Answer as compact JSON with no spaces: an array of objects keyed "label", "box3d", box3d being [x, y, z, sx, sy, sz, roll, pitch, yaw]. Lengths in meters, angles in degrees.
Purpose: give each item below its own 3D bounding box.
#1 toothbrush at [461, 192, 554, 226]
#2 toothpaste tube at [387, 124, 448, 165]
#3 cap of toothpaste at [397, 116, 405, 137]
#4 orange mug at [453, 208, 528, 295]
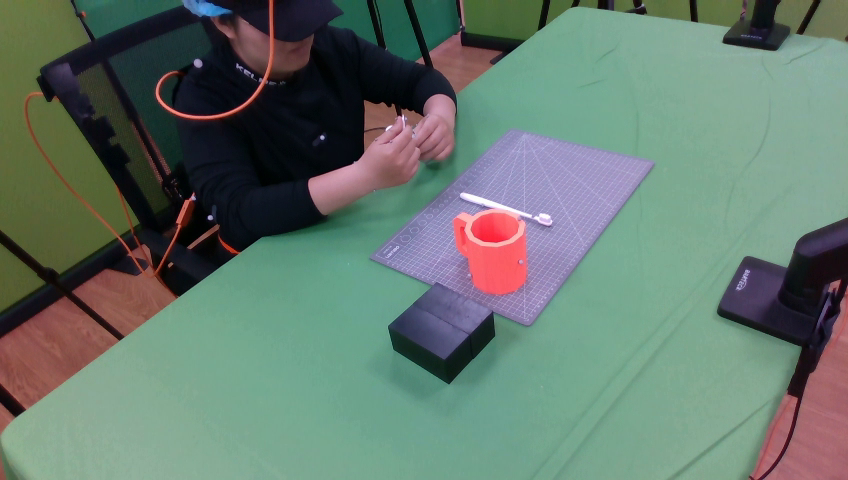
[{"label":"toothbrush","box3d":[0.137,-0.056,1.026,0.180,0.017,0.014,20,60,32]},{"label":"toothpaste tube","box3d":[-0.015,-0.174,1.098,0.055,0.166,0.034,-24,68,24]},{"label":"cap of toothpaste","box3d":[-0.038,-0.190,1.013,0.011,0.037,0.037,7,41,-1]},{"label":"orange mug","box3d":[0.095,0.009,0.894,0.125,0.101,0.084,32,55,33]}]
